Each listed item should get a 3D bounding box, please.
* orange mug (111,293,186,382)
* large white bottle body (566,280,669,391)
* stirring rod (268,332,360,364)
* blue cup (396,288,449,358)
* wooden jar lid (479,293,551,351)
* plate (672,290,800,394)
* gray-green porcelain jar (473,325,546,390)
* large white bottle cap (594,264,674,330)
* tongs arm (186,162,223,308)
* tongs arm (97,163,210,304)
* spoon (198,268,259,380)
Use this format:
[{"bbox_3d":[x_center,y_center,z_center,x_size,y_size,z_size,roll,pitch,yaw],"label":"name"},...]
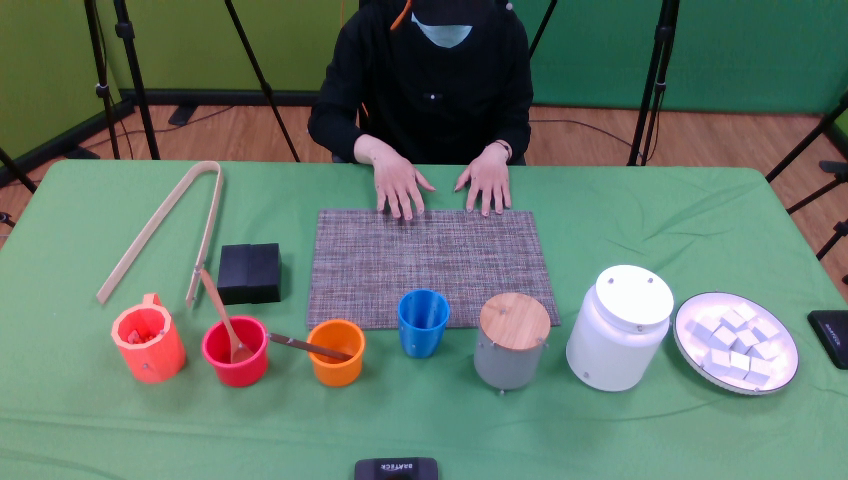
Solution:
[{"bbox_3d":[-0.435,0.149,0.969,0.083,0.101,0.125,-5,51,-9],"label":"orange mug"},{"bbox_3d":[0.310,0.142,0.968,0.131,0.185,0.130,2,46,-2],"label":"large white bottle body"},{"bbox_3d":[-0.167,0.169,0.942,0.177,0.006,0.014,26,27,-41],"label":"stirring rod"},{"bbox_3d":[-0.006,0.144,1.002,0.093,0.101,0.092,3,46,-3],"label":"blue cup"},{"bbox_3d":[0.138,0.127,0.925,0.108,0.021,0.107,1,47,-1],"label":"wooden jar lid"},{"bbox_3d":[0.533,0.178,1.050,0.208,0.039,0.206,2,46,-2],"label":"plate"},{"bbox_3d":[0.135,0.170,0.969,0.106,0.127,0.105,2,46,-2],"label":"gray-green porcelain jar"},{"bbox_3d":[0.314,0.083,0.906,0.115,0.018,0.114,2,46,-2],"label":"large white bottle cap"},{"bbox_3d":[-0.436,-0.024,1.181,0.051,0.026,0.382,-2,45,0],"label":"tongs arm"},{"bbox_3d":[-0.520,-0.028,1.183,0.028,0.028,0.385,5,45,12],"label":"tongs arm"},{"bbox_3d":[-0.312,0.132,0.962,0.041,0.021,0.194,-24,96,-22],"label":"spoon"}]
